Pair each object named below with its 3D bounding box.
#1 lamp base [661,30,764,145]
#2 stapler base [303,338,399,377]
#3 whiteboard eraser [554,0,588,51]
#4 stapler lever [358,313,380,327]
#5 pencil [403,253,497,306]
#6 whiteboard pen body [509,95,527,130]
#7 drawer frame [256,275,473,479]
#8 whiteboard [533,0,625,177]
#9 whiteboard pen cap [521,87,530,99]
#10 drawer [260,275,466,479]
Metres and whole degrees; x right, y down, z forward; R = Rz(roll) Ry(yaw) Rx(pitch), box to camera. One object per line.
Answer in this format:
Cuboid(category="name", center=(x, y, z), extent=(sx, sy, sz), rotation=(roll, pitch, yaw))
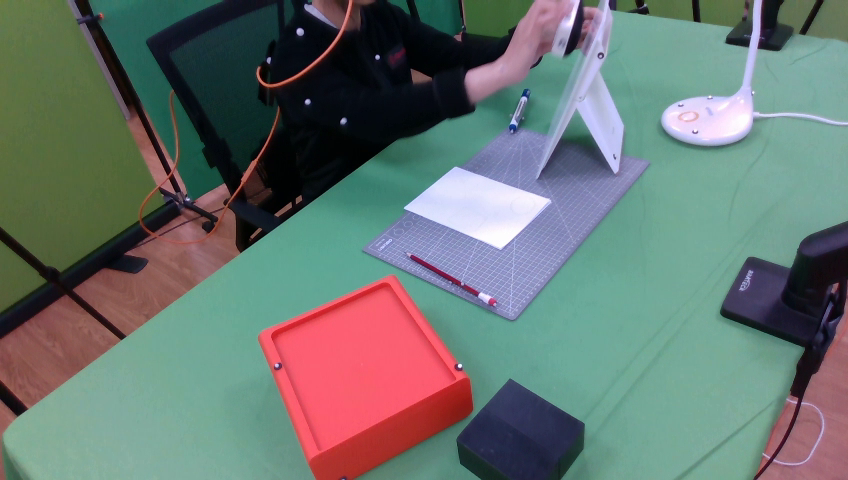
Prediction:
Cuboid(category="lamp base", center=(0.535, -0.287, 1.096), extent=(0.179, 0.181, 0.159), rotation=(-10, 40, -4))
Cuboid(category="stapler base", center=(-0.099, 0.150, 0.805), extent=(0.130, 0.024, 0.041), rotation=(-13, 25, 1))
Cuboid(category="whiteboard eraser", center=(0.240, -0.356, 0.979), extent=(0.042, 0.056, 0.112), rotation=(14, 47, 8))
Cuboid(category="stapler lever", center=(-0.106, 0.127, 0.792), extent=(0.118, 0.040, 0.026), rotation=(-15, 26, 2))
Cuboid(category="pencil", center=(0.034, 0.056, 0.914), extent=(0.192, 0.012, 0.012), rotation=(27, 52, 38))
Cuboid(category="whiteboard pen body", center=(0.199, -0.273, 1.261), extent=(0.017, 0.017, 0.140), rotation=(7, 44, 19))
Cuboid(category="drawer frame", center=(-0.078, 0.164, 0.756), extent=(0.202, 0.083, 0.211), rotation=(-23, 43, -17))
Cuboid(category="whiteboard", center=(0.320, -0.258, 1.049), extent=(0.144, 0.306, 0.217), rotation=(21, 45, 4))
Cuboid(category="whiteboard pen cap", center=(0.218, -0.313, 1.301), extent=(0.018, 0.018, 0.033), rotation=(7, 47, 18))
Cuboid(category="drawer", center=(-0.080, 0.162, 0.760), extent=(0.195, 0.073, 0.210), rotation=(-22, 42, -16))
